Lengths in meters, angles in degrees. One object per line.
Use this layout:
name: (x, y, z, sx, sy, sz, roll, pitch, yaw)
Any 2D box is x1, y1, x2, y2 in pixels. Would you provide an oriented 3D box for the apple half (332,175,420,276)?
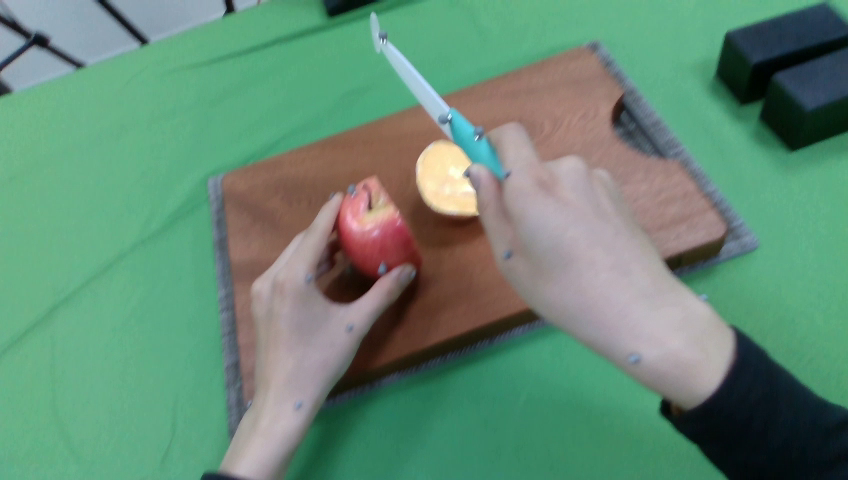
apple half: (-0.044, -0.004, 0.489, 0.053, 0.075, 0.080, -33, 58, -6)

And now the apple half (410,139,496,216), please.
apple half: (0.026, -0.050, 0.531, 0.081, 0.033, 0.080, 0, 66, 1)

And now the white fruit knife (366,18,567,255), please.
white fruit knife: (0.019, -0.074, 0.373, 0.016, 0.027, 0.205, -29, 66, -23)
